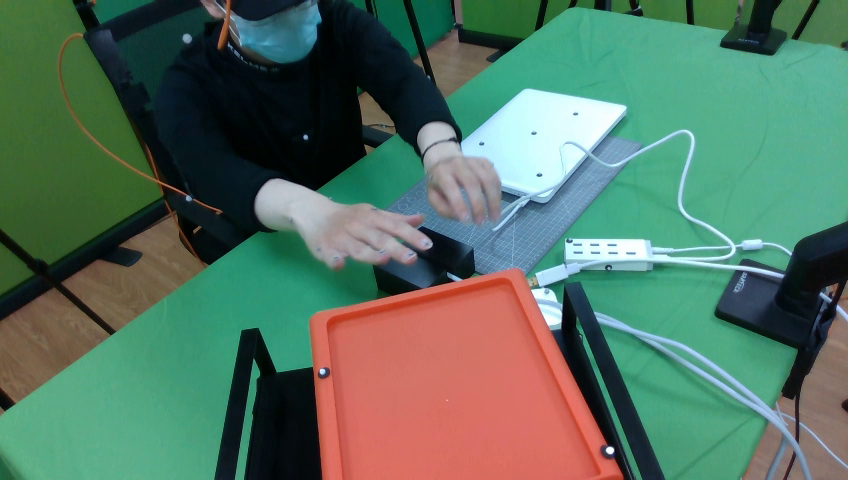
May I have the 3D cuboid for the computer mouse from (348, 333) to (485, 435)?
[{"bbox_3d":[-0.005,0.121,0.527,0.117,0.041,0.063,20,39,14],"label":"computer mouse"}]

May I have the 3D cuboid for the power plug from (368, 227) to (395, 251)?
[{"bbox_3d":[-0.065,0.009,0.956,0.035,0.053,0.072,-31,54,3],"label":"power plug"}]

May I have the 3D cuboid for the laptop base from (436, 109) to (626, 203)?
[{"bbox_3d":[0.214,-0.193,1.172,0.233,0.023,0.355,19,46,32],"label":"laptop base"}]

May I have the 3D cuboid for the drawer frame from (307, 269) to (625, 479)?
[{"bbox_3d":[0.019,0.135,0.487,0.202,0.083,0.212,-12,41,-7],"label":"drawer frame"}]

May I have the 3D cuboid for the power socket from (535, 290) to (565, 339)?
[{"bbox_3d":[0.081,0.112,0.822,0.227,0.033,0.072,-7,41,0],"label":"power socket"}]

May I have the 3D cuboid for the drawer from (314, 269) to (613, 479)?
[{"bbox_3d":[0.018,0.135,0.490,0.195,0.073,0.210,-11,41,-5],"label":"drawer"}]

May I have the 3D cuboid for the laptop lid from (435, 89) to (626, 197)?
[{"bbox_3d":[0.211,-0.202,1.165,0.240,0.013,0.358,21,47,32],"label":"laptop lid"}]

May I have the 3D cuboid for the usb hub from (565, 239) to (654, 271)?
[{"bbox_3d":[0.275,0.022,0.906,0.125,0.025,0.049,1,41,9],"label":"usb hub"}]

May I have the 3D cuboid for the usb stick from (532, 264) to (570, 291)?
[{"bbox_3d":[0.180,0.058,0.876,0.059,0.027,0.021,-31,88,-6],"label":"usb stick"}]
